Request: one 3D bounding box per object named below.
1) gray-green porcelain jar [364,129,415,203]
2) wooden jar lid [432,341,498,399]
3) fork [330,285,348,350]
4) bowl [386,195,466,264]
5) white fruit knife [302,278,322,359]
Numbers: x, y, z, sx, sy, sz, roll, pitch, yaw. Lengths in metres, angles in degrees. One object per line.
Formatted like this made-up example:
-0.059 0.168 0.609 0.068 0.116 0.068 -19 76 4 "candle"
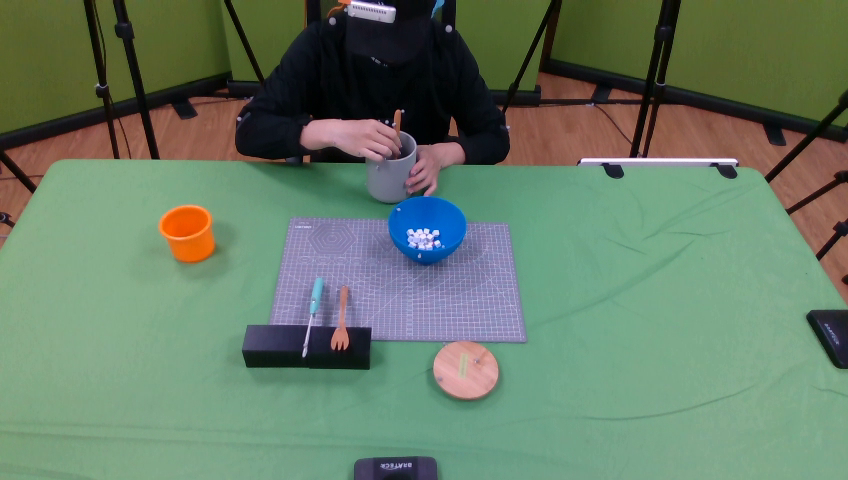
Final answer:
-0.073 -0.149 1.264 0.106 0.127 0.105 2 46 -2 "gray-green porcelain jar"
0.067 0.216 0.997 0.108 0.021 0.107 1 46 -1 "wooden jar lid"
-0.140 0.127 1.021 0.028 0.019 0.206 -5 28 -2 "fork"
0.003 -0.007 1.162 0.151 0.077 0.150 2 46 -2 "bowl"
-0.189 0.126 1.020 0.016 0.027 0.206 0 33 -3 "white fruit knife"
